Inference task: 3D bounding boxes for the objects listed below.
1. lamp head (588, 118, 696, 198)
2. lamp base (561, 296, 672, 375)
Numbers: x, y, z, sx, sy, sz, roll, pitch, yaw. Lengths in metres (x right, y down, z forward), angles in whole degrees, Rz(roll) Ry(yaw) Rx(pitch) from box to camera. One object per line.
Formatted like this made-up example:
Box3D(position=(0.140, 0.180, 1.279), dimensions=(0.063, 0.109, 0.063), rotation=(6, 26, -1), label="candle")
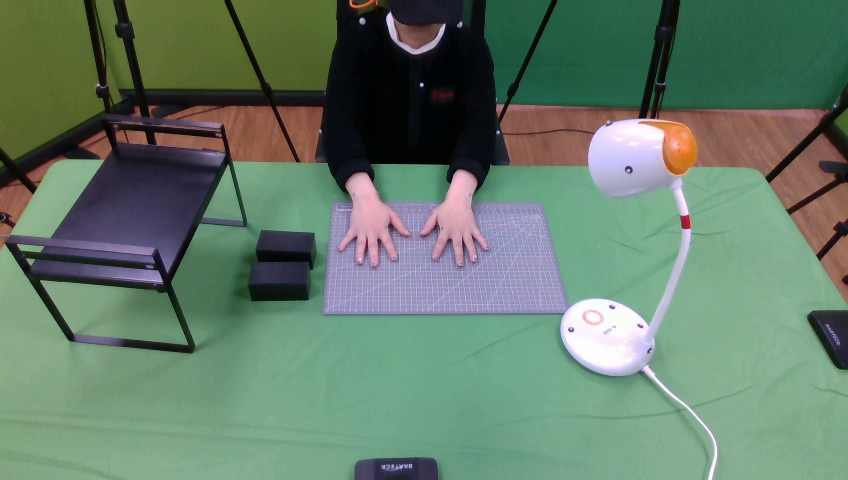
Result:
Box3D(position=(0.304, -0.113, 0.823), dimensions=(0.112, 0.112, 0.122), rotation=(-26, 16, -25), label="lamp head")
Box3D(position=(0.332, 0.119, 0.996), dimensions=(0.160, 0.181, 0.178), rotation=(-34, 59, -31), label="lamp base")
